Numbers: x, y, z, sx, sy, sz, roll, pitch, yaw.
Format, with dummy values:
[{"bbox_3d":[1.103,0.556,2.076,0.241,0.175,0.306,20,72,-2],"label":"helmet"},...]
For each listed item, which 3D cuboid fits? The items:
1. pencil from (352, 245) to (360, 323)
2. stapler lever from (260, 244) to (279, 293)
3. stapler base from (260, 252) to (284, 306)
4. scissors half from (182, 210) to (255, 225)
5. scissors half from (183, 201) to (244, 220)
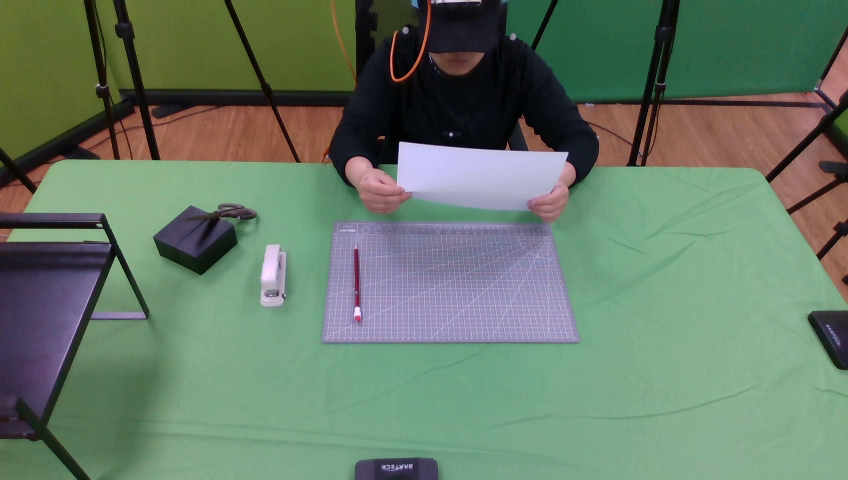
[{"bbox_3d":[-0.127,0.076,1.120,0.012,0.012,0.192,-2,44,-7],"label":"pencil"},{"bbox_3d":[-0.279,0.045,1.096,0.027,0.040,0.117,-2,44,-9],"label":"stapler lever"},{"bbox_3d":[-0.279,0.064,1.113,0.041,0.024,0.129,-1,44,-9],"label":"stapler base"},{"bbox_3d":[-0.389,-0.042,1.158,0.040,0.013,0.175,41,21,22],"label":"scissors half"},{"bbox_3d":[-0.405,-0.054,1.163,0.040,0.013,0.175,29,18,7],"label":"scissors half"}]
